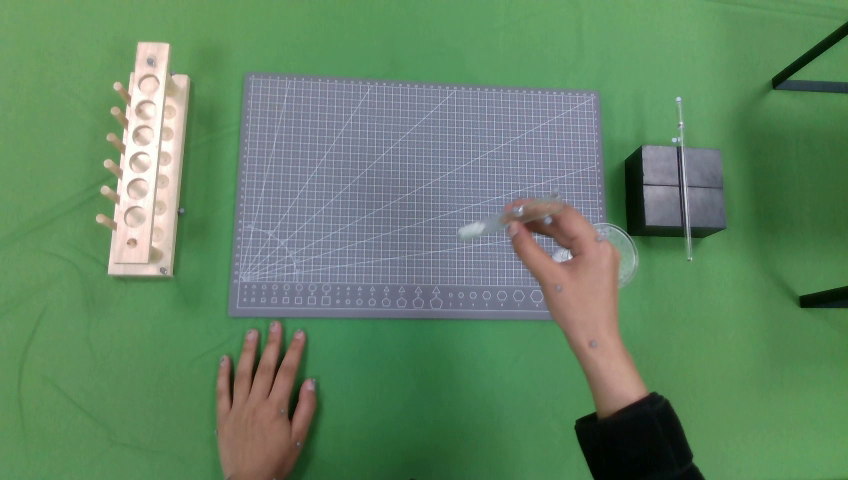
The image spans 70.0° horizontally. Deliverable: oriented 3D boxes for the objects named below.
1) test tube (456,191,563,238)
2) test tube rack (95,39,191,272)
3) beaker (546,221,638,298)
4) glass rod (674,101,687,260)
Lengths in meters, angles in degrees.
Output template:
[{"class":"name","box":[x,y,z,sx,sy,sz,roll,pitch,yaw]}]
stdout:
[{"class":"test tube","box":[0.069,-0.020,0.531,0.017,0.150,0.017,5,79,-26]},{"class":"test tube rack","box":[-0.313,-0.091,0.668,0.067,0.085,0.241,2,78,-6]},{"class":"beaker","box":[0.183,0.026,0.690,0.084,0.100,0.073,3,77,-4]},{"class":"glass rod","box":[0.307,-0.074,0.725,0.008,0.008,0.199,4,78,-5]}]
